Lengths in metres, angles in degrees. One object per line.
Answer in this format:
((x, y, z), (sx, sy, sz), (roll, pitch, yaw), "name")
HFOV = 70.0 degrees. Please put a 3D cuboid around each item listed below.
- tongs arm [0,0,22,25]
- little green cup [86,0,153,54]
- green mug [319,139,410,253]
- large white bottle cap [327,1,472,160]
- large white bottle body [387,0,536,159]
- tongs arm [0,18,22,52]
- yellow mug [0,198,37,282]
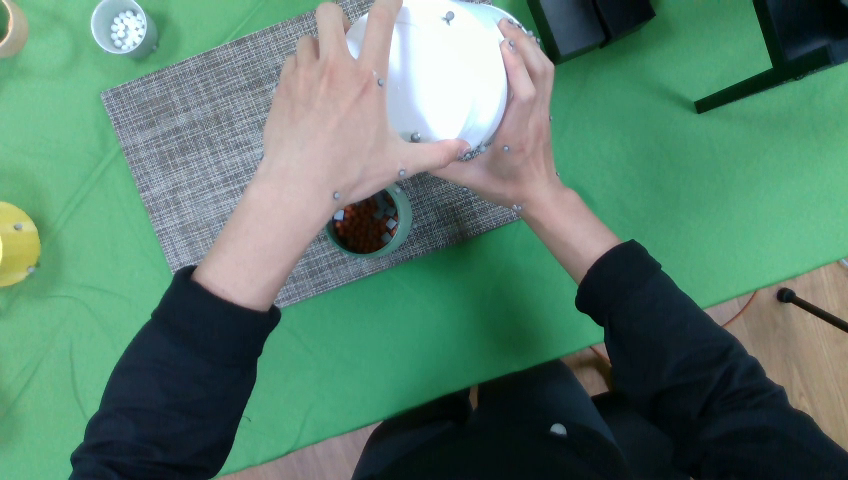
((-0.602, -0.313, 0.634), (0.387, 0.028, 0.028), (22, 87, 1), "tongs arm")
((-0.333, -0.236, 0.668), (0.061, 0.038, 0.061), (0, 95, 0), "little green cup")
((-0.064, -0.047, 0.645), (0.092, 0.105, 0.125), (-4, 94, 1), "green mug")
((-0.020, -0.118, 0.455), (0.114, 0.018, 0.115), (8, 111, 21), "large white bottle cap")
((0.015, -0.144, 0.529), (0.130, 0.184, 0.131), (8, 111, 22), "large white bottle body")
((-0.621, -0.231, 0.638), (0.385, 0.026, 0.051), (8, 91, 2), "tongs arm")
((-0.504, 0.018, 0.674), (0.100, 0.064, 0.131), (12, 95, -1), "yellow mug")
